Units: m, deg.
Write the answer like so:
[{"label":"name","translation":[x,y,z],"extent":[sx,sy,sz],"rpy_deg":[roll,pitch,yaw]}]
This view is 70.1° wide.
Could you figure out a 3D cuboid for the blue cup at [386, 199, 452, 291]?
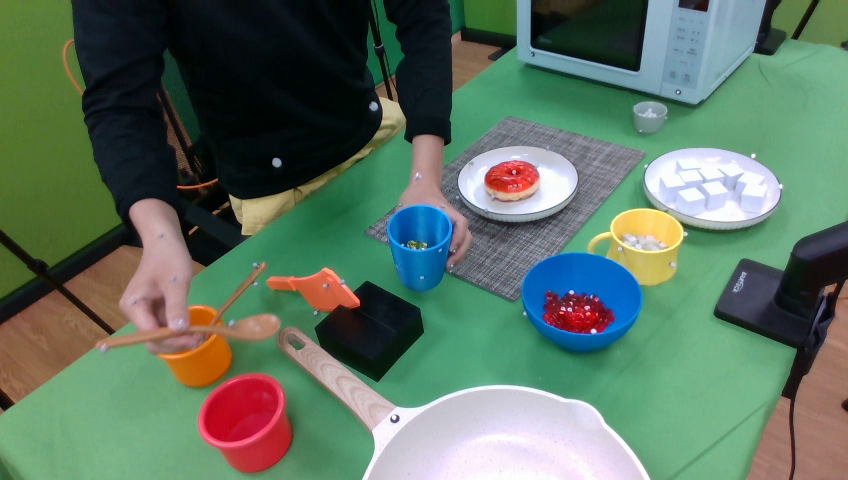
[{"label":"blue cup","translation":[-0.005,0.016,0.807],"extent":[0.093,0.100,0.092],"rpy_deg":[0,47,1]}]

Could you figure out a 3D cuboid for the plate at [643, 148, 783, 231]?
[{"label":"plate","translation":[0.464,-0.079,0.986],"extent":[0.207,0.039,0.206],"rpy_deg":[-4,40,4]}]

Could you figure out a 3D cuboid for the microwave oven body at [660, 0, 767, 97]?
[{"label":"microwave oven body","translation":[0.473,-0.517,1.313],"extent":[0.438,0.261,0.327],"rpy_deg":[26,51,34]}]

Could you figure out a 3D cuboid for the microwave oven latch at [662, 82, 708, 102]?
[{"label":"microwave oven latch","translation":[0.518,-0.298,1.203],"extent":[0.078,0.029,0.030],"rpy_deg":[29,53,36]}]

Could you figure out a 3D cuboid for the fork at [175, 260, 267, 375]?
[{"label":"fork","translation":[-0.267,0.102,0.791],"extent":[0.207,0.019,0.028],"rpy_deg":[-51,39,16]}]

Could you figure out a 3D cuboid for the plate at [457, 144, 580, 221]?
[{"label":"plate","translation":[0.161,-0.097,1.042],"extent":[0.209,0.038,0.208],"rpy_deg":[-4,40,4]}]

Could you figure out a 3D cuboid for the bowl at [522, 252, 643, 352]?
[{"label":"bowl","translation":[0.204,0.093,0.792],"extent":[0.151,0.077,0.150],"rpy_deg":[-4,40,4]}]

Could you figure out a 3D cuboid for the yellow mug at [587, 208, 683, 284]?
[{"label":"yellow mug","translation":[0.305,0.009,0.884],"extent":[0.131,0.064,0.099],"rpy_deg":[-4,41,5]}]

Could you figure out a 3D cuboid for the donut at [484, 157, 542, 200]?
[{"label":"donut","translation":[0.153,-0.107,1.039],"extent":[0.099,0.048,0.098],"rpy_deg":[-6,37,5]}]

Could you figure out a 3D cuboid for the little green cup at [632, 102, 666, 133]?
[{"label":"little green cup","translation":[0.434,-0.237,1.171],"extent":[0.061,0.039,0.061],"rpy_deg":[-5,40,5]}]

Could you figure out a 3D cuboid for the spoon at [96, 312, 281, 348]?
[{"label":"spoon","translation":[-0.231,0.091,0.617],"extent":[0.041,0.021,0.195],"rpy_deg":[35,18,35]}]

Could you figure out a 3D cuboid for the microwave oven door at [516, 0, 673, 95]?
[{"label":"microwave oven door","translation":[0.344,-0.458,1.256],"extent":[0.353,0.245,0.039],"rpy_deg":[26,51,33]}]

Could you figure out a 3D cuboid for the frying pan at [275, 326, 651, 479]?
[{"label":"frying pan","translation":[0.003,0.229,0.641],"extent":[0.484,0.103,0.308],"rpy_deg":[34,54,28]}]

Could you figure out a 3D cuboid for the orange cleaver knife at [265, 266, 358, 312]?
[{"label":"orange cleaver knife","translation":[-0.164,0.072,0.864],"extent":[0.210,0.077,0.012],"rpy_deg":[-5,31,50]}]
